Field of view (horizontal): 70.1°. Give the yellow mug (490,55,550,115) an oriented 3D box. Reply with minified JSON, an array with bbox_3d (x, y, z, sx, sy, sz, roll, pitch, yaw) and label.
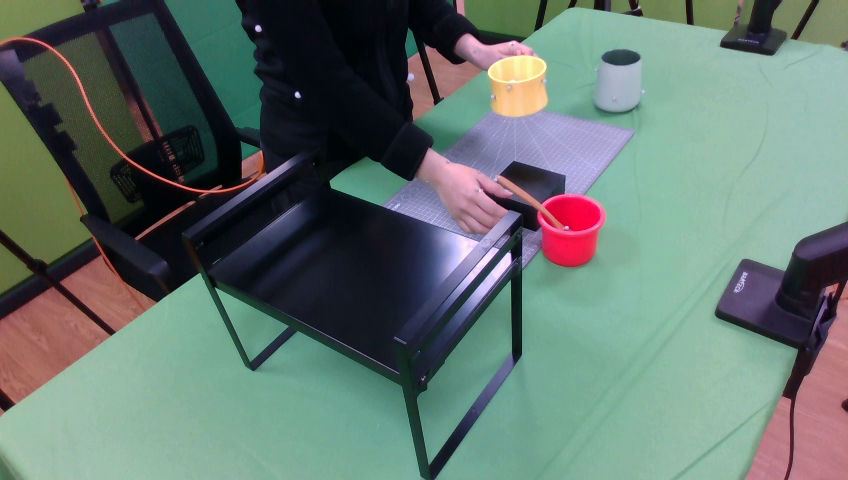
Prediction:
[{"bbox_3d":[0.170,-0.280,1.060,0.099,0.064,0.130,2,41,15],"label":"yellow mug"}]

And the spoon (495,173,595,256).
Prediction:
[{"bbox_3d":[0.181,-0.040,0.902,0.194,0.021,0.041,40,50,-14],"label":"spoon"}]

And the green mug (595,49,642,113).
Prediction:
[{"bbox_3d":[0.397,-0.333,1.240,0.092,0.105,0.125,-3,41,7],"label":"green mug"}]
